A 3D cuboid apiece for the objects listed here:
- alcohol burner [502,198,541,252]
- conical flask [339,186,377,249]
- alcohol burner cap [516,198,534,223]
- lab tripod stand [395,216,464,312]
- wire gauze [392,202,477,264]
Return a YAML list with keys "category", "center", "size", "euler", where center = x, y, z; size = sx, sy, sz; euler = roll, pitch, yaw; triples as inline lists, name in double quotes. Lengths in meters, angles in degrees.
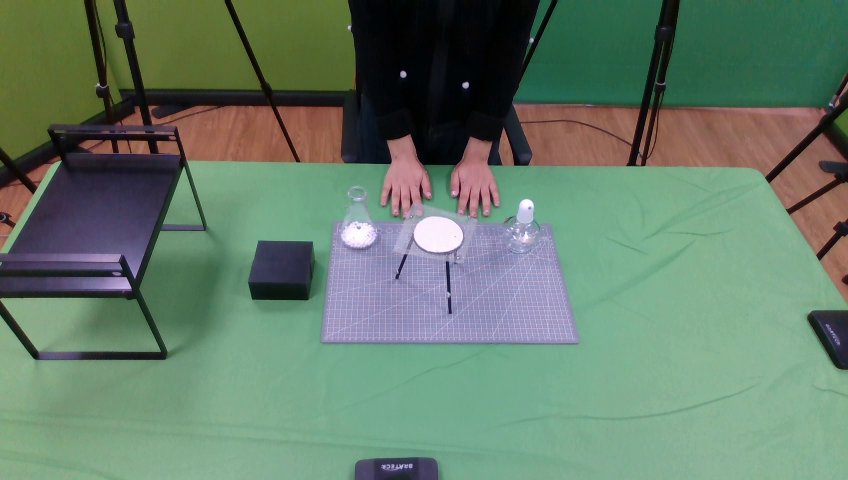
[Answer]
- category: "alcohol burner"
  center: [0.192, -0.033, 1.178]
  size: [0.078, 0.119, 0.077]
  euler: [2, 44, -2]
- category: "conical flask"
  center: [-0.129, -0.047, 1.160]
  size: [0.075, 0.122, 0.075]
  euler: [2, 46, -2]
- category: "alcohol burner cap"
  center: [0.194, -0.059, 1.152]
  size: [0.034, 0.048, 0.033]
  euler: [0, 50, 1]
- category: "lab tripod stand"
  center: [0.023, 0.036, 1.084]
  size: [0.148, 0.132, 0.147]
  euler: [4, 46, -4]
- category: "wire gauze"
  center: [0.020, -0.011, 1.037]
  size: [0.121, 0.011, 0.124]
  euler: [13, 47, 8]
